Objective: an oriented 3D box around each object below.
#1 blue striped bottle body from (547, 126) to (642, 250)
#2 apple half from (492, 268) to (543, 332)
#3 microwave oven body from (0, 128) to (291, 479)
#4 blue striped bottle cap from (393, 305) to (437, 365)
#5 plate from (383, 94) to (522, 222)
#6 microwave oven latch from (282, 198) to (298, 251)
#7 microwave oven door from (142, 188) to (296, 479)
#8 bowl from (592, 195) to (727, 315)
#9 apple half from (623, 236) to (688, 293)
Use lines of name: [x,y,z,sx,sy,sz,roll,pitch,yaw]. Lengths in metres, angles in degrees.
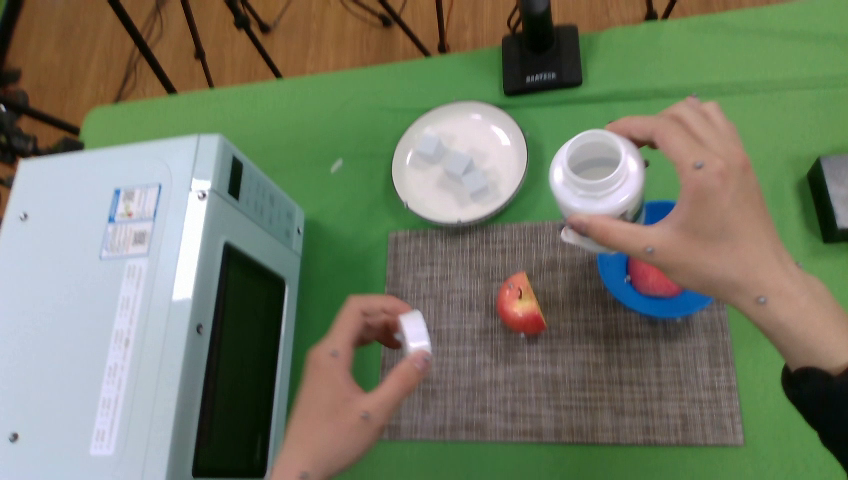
blue striped bottle body: [0.125,-0.038,0.441,0.063,0.122,0.062,-6,71,17]
apple half: [0.117,0.083,0.783,0.053,0.075,0.080,-23,69,10]
microwave oven body: [-0.377,0.121,0.798,0.325,0.262,0.438,-5,69,13]
blue striped bottle cap: [-0.008,0.074,0.472,0.020,0.045,0.044,-24,64,-11]
plate: [0.043,-0.119,0.904,0.207,0.039,0.206,-5,69,13]
microwave oven latch: [-0.208,-0.023,0.914,0.030,0.030,0.078,-4,69,13]
microwave oven door: [-0.236,0.145,0.745,0.039,0.246,0.353,-5,68,13]
bowl: [0.287,0.028,0.756,0.151,0.077,0.150,-5,69,14]
apple half: [0.287,0.027,0.751,0.081,0.033,0.080,-6,67,14]
